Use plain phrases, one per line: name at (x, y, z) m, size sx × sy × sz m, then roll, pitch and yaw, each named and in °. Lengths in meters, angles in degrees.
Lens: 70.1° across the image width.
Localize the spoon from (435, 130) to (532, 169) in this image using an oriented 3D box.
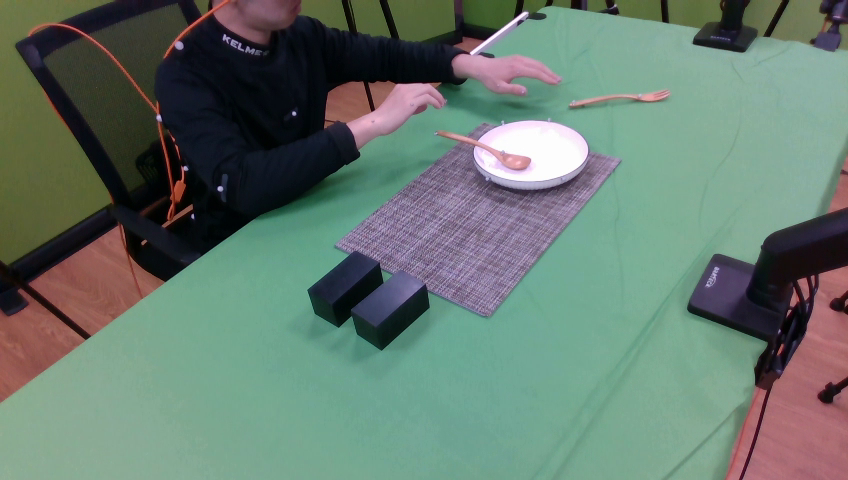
spoon at (0.106, -0.171, 1.112) m, size 0.193 × 0.022 × 0.041 m, roll 25°, pitch 53°, yaw 15°

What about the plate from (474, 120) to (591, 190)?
plate at (0.196, -0.151, 1.099) m, size 0.207 × 0.039 × 0.206 m, roll -4°, pitch 40°, yaw 4°

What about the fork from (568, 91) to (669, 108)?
fork at (0.402, -0.290, 1.252) m, size 0.207 × 0.019 × 0.028 m, roll -4°, pitch 47°, yaw 1°
